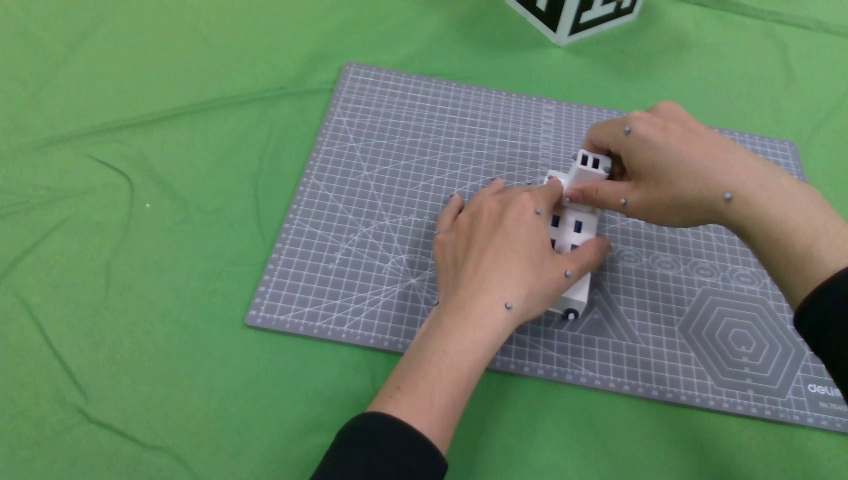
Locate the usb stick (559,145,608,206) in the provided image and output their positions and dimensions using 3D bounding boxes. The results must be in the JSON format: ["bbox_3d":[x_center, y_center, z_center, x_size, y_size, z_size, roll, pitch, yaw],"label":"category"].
[{"bbox_3d":[0.122,-0.047,0.475,0.027,0.059,0.021,10,61,4],"label":"usb stick"}]

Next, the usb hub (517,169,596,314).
[{"bbox_3d":[0.107,-0.003,0.480,0.049,0.025,0.124,11,52,8],"label":"usb hub"}]
